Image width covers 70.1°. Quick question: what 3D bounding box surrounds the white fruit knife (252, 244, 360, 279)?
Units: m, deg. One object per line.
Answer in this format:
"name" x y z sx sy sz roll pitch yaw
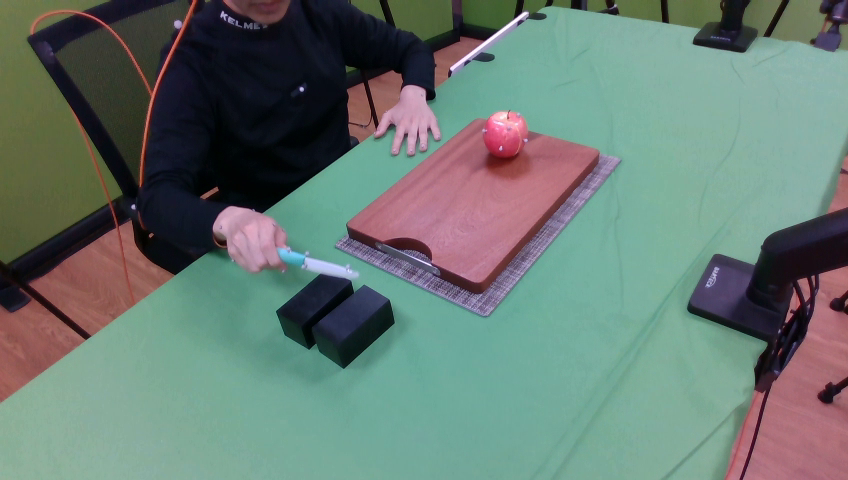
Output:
"white fruit knife" -0.163 0.029 0.812 0.206 0.027 0.016 10 43 34

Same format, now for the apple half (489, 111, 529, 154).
"apple half" 0.156 -0.197 1.092 0.080 0.075 0.053 21 44 34

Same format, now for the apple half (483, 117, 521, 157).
"apple half" 0.131 -0.175 1.069 0.080 0.081 0.033 24 48 32
